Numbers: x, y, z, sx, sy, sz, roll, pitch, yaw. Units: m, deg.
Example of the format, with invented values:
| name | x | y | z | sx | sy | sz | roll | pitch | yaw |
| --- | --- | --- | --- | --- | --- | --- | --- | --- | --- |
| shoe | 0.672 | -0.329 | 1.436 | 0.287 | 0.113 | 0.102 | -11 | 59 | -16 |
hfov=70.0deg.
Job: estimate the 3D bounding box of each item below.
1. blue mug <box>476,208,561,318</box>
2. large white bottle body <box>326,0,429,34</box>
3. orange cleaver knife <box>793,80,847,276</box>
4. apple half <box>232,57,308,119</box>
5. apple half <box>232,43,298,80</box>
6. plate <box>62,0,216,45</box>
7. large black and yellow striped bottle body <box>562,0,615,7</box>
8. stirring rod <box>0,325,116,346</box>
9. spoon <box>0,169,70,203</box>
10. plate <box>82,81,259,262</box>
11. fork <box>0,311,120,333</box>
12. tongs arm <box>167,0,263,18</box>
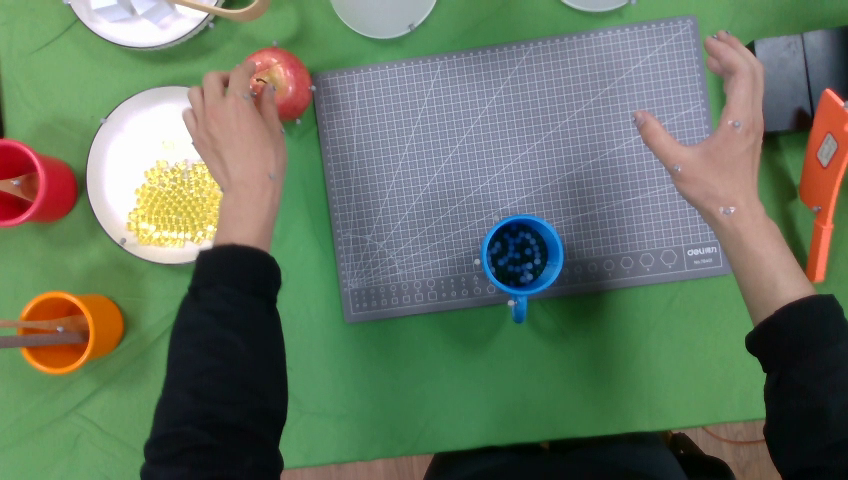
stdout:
| name | x | y | z | sx | sy | sz | roll | pitch | yaw |
| --- | --- | --- | --- | --- | --- | --- | --- | --- | --- |
| blue mug | 0.099 | 0.026 | 0.656 | 0.082 | 0.106 | 0.116 | 0 | 90 | 3 |
| large white bottle body | -0.059 | -0.306 | 0.625 | 0.130 | 0.185 | 0.130 | 0 | 89 | 4 |
| orange cleaver knife | 0.420 | -0.061 | 0.649 | 0.012 | 0.076 | 0.213 | -9 | 121 | 3 |
| apple half | -0.168 | -0.166 | 0.688 | 0.081 | 0.074 | 0.053 | -22 | 93 | 1 |
| apple half | -0.183 | -0.202 | 0.687 | 0.081 | 0.081 | 0.033 | -22 | 93 | 4 |
| plate | -0.329 | -0.330 | 0.713 | 0.207 | 0.039 | 0.207 | 0 | 91 | 3 |
| large black and yellow striped bottle body | 0.184 | -0.332 | 0.611 | 0.131 | 0.184 | 0.130 | 0 | 90 | 4 |
| stirring rod | -0.439 | 0.108 | 0.670 | 0.177 | 0.006 | 0.014 | 0 | 78 | -37 |
| spoon | -0.507 | -0.064 | 0.673 | 0.195 | 0.021 | 0.041 | 0 | 89 | -40 |
| plate | -0.293 | -0.079 | 0.713 | 0.209 | 0.038 | 0.209 | 0 | 91 | 4 |
| fork | -0.450 | 0.089 | 0.667 | 0.209 | 0.018 | 0.028 | 9 | 90 | -40 |
| tongs arm | -0.368 | -0.317 | 0.683 | 0.384 | 0.026 | 0.050 | 21 | 88 | 5 |
